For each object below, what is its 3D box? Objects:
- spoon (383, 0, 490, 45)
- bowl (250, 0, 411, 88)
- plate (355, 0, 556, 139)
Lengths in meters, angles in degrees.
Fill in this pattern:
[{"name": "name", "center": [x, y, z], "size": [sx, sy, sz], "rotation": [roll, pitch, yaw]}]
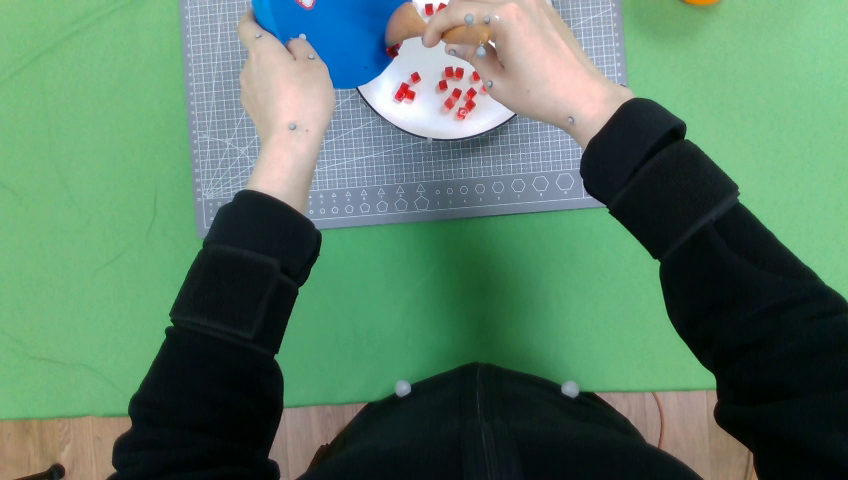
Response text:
[{"name": "spoon", "center": [0.006, -0.160, 0.456], "size": [0.022, 0.191, 0.041], "rotation": [26, 98, -32]}, {"name": "bowl", "center": [-0.090, -0.209, 0.506], "size": [0.076, 0.153, 0.151], "rotation": [23, 91, 38]}, {"name": "plate", "center": [0.024, -0.202, 0.599], "size": [0.209, 0.038, 0.209], "rotation": [0, 90, 3]}]
